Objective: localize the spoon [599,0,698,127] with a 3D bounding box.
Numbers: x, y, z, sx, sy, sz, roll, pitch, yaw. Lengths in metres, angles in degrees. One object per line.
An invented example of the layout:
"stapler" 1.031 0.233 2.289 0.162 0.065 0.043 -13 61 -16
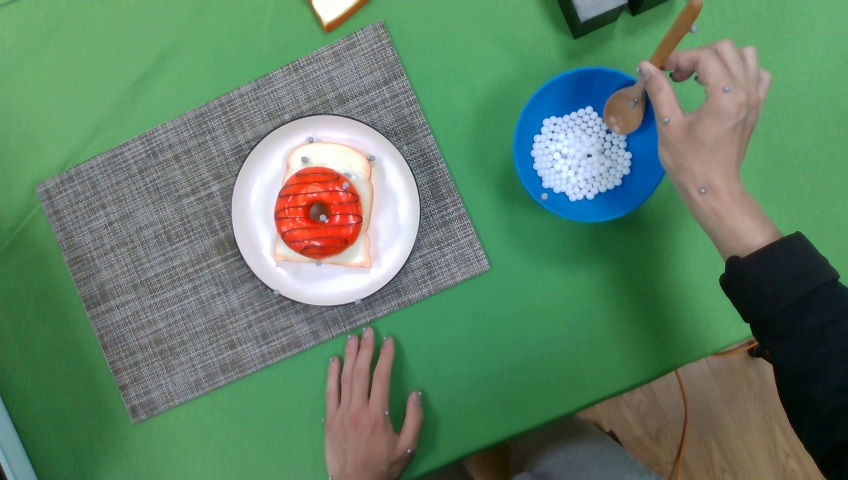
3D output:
"spoon" 0.192 -0.150 0.527 0.021 0.194 0.041 -40 80 -8

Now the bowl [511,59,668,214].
"bowl" 0.162 -0.099 0.622 0.151 0.077 0.151 0 91 4

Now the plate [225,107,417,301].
"plate" -0.110 -0.038 0.661 0.207 0.039 0.207 0 91 5

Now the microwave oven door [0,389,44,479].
"microwave oven door" -0.511 0.187 0.584 0.039 0.244 0.355 -26 89 5

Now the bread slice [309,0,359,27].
"bread slice" -0.109 -0.319 0.670 0.105 0.019 0.131 -38 89 3

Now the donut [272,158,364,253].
"donut" -0.111 -0.036 0.634 0.099 0.048 0.099 0 92 5

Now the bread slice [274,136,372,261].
"bread slice" -0.110 -0.045 0.662 0.107 0.018 0.134 1 92 4

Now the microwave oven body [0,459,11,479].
"microwave oven body" -0.660 0.212 0.601 0.326 0.260 0.441 -26 89 4
